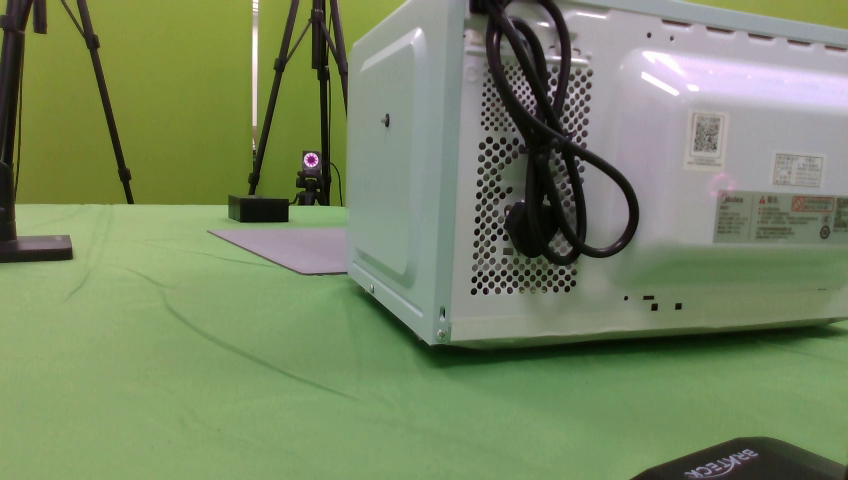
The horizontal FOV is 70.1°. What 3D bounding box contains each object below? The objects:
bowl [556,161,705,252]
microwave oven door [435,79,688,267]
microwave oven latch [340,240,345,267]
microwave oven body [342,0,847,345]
[{"bbox_3d":[0.213,-0.035,0.647,0.151,0.077,0.151,3,16,-1],"label":"bowl"},{"bbox_3d":[0.179,-0.102,0.869,0.354,0.243,0.039,7,9,31],"label":"microwave oven door"},{"bbox_3d":[-0.052,0.016,0.662,0.079,0.029,0.030,1,7,-18],"label":"microwave oven latch"},{"bbox_3d":[0.169,-0.060,0.573,0.444,0.260,0.324,1,7,-20],"label":"microwave oven body"}]
